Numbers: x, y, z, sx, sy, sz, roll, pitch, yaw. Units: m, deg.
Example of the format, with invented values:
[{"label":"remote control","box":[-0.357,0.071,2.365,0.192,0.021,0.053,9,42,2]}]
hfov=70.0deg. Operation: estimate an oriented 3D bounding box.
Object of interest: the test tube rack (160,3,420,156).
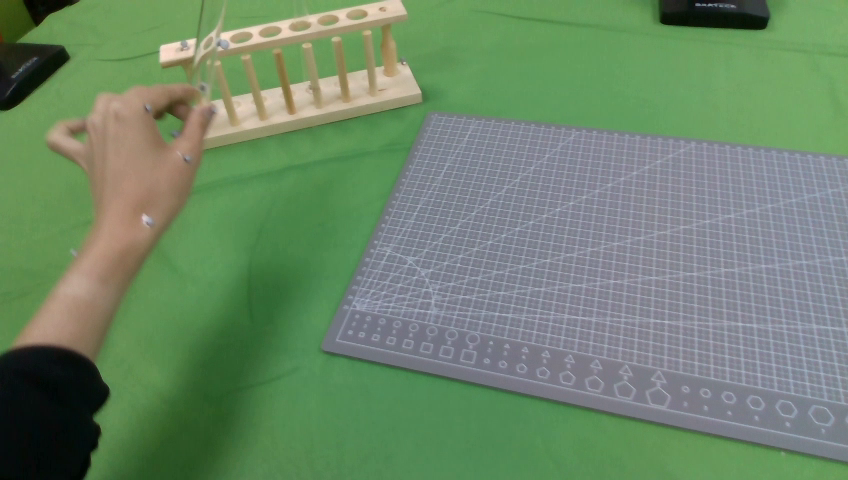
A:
[{"label":"test tube rack","box":[-0.131,-0.165,0.620,0.243,0.086,0.066,-14,48,-8]}]

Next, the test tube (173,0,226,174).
[{"label":"test tube","box":[-0.163,-0.115,0.438,0.017,0.151,0.017,18,27,-9]}]

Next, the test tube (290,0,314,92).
[{"label":"test tube","box":[-0.122,-0.217,0.599,0.017,0.151,0.017,0,40,0]}]
